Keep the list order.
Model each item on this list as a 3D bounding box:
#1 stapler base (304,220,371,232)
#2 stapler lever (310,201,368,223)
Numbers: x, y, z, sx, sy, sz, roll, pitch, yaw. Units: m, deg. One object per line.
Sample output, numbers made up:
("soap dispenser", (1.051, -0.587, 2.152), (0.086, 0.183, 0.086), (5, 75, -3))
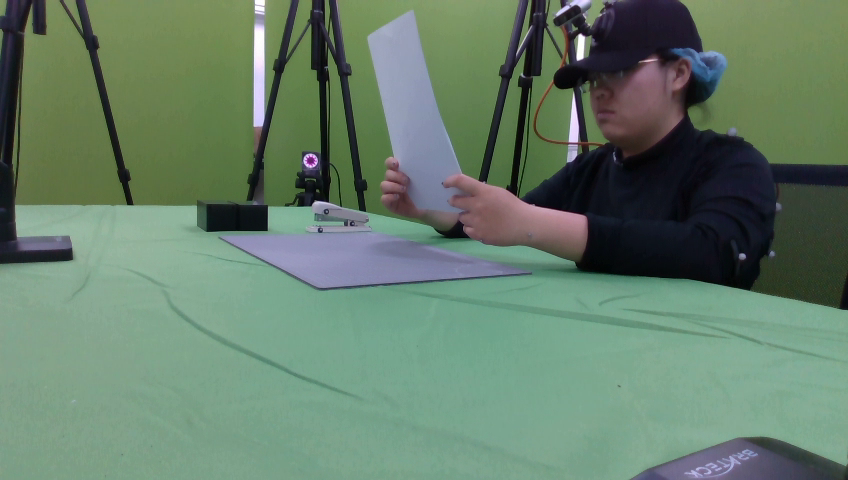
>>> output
("stapler base", (-0.169, -0.029, 1.186), (0.131, 0.024, 0.041), (0, 10, -33))
("stapler lever", (-0.166, -0.054, 1.184), (0.119, 0.040, 0.026), (0, 9, -33))
